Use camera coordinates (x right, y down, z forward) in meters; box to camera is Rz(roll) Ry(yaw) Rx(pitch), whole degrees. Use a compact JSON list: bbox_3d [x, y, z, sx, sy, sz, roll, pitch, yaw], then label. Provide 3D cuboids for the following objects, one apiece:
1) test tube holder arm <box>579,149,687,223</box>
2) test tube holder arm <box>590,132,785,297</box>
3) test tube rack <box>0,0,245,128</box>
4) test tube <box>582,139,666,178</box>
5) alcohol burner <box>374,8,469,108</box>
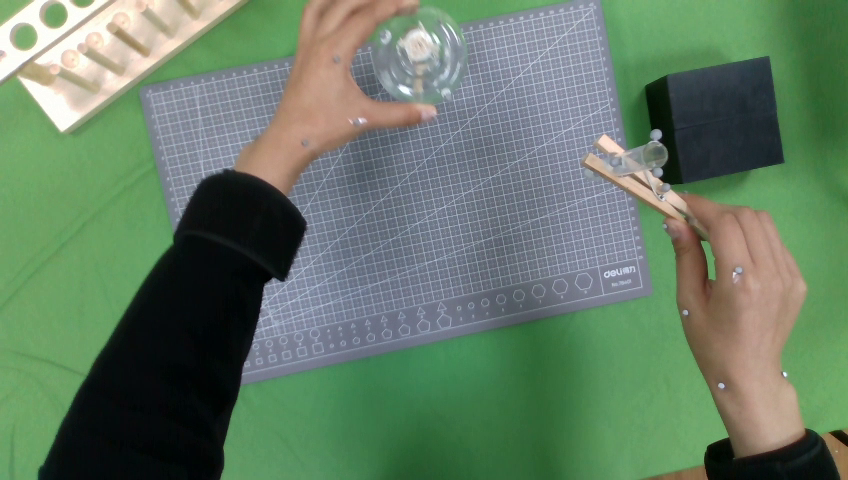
[{"bbox_3d":[0.150,-0.038,0.429,0.088,0.015,0.010,30,97,-5],"label":"test tube holder arm"},{"bbox_3d":[0.190,-0.017,0.432,0.179,0.015,0.013,37,97,-6],"label":"test tube holder arm"},{"bbox_3d":[-0.256,-0.200,0.528,0.242,0.085,0.067,-36,94,0],"label":"test tube rack"},{"bbox_3d":[0.133,-0.054,0.419,0.017,0.150,0.017,0,93,1],"label":"test tube"},{"bbox_3d":[-0.002,-0.144,0.475,0.078,0.118,0.078,0,99,0],"label":"alcohol burner"}]
